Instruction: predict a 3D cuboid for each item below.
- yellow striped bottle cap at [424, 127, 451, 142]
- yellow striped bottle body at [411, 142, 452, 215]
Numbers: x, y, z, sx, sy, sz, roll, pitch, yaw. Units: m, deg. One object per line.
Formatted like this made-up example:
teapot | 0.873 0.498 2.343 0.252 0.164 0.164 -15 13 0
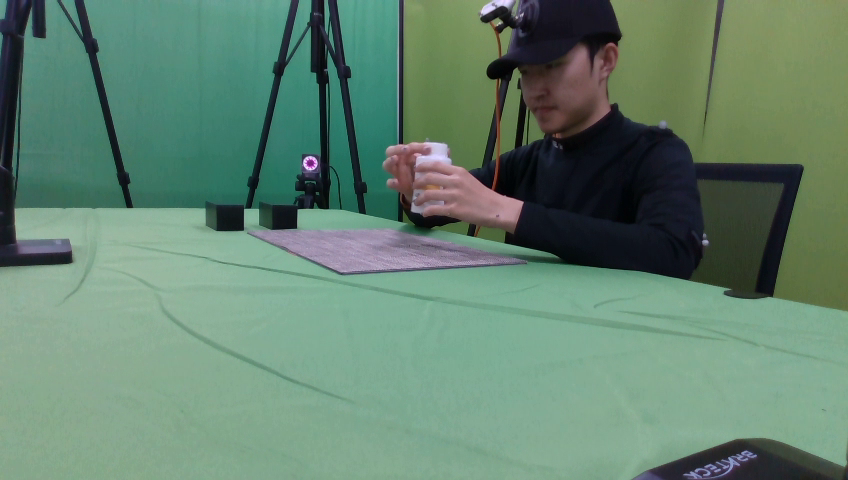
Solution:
yellow striped bottle cap | 0.022 -0.180 1.030 0.044 0.018 0.044 13 6 -1
yellow striped bottle body | 0.014 -0.106 1.042 0.063 0.120 0.063 6 8 0
